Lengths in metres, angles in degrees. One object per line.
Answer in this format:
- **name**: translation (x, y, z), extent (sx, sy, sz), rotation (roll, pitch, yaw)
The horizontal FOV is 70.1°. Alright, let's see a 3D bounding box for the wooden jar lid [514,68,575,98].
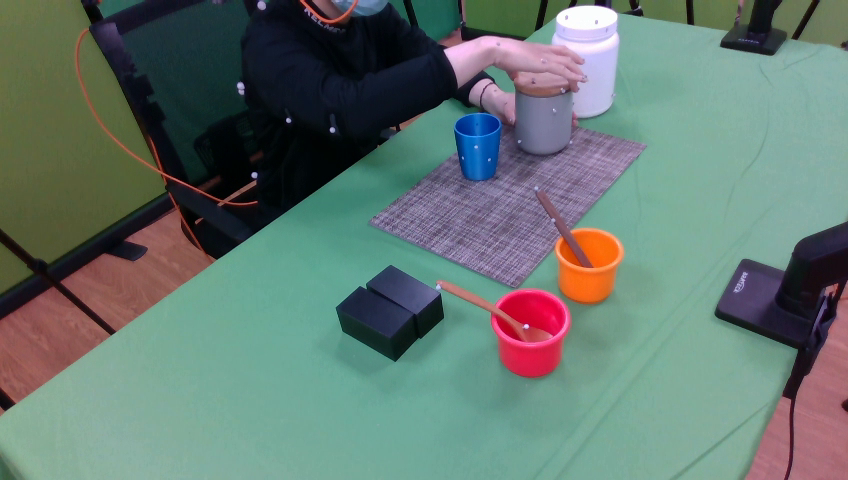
- **wooden jar lid**: translation (0.216, -0.280, 1.087), extent (0.108, 0.021, 0.108), rotation (-3, 38, 3)

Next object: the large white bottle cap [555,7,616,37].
- **large white bottle cap**: translation (0.311, -0.420, 1.163), extent (0.115, 0.018, 0.114), rotation (-4, 40, 4)

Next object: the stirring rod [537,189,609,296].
- **stirring rod**: translation (0.210, 0.003, 0.855), extent (0.014, 0.006, 0.176), rotation (-32, 88, -30)

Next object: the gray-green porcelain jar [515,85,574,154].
- **gray-green porcelain jar**: translation (0.223, -0.232, 1.129), extent (0.106, 0.127, 0.105), rotation (-4, 40, 4)

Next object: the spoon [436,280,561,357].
- **spoon**: translation (0.096, 0.095, 0.757), extent (0.195, 0.021, 0.041), rotation (34, 42, -20)

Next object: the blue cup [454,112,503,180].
- **blue cup**: translation (0.098, -0.165, 1.088), extent (0.092, 0.100, 0.092), rotation (-3, 41, 3)

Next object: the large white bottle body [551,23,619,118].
- **large white bottle body**: translation (0.321, -0.355, 1.218), extent (0.130, 0.185, 0.130), rotation (-4, 41, 4)
